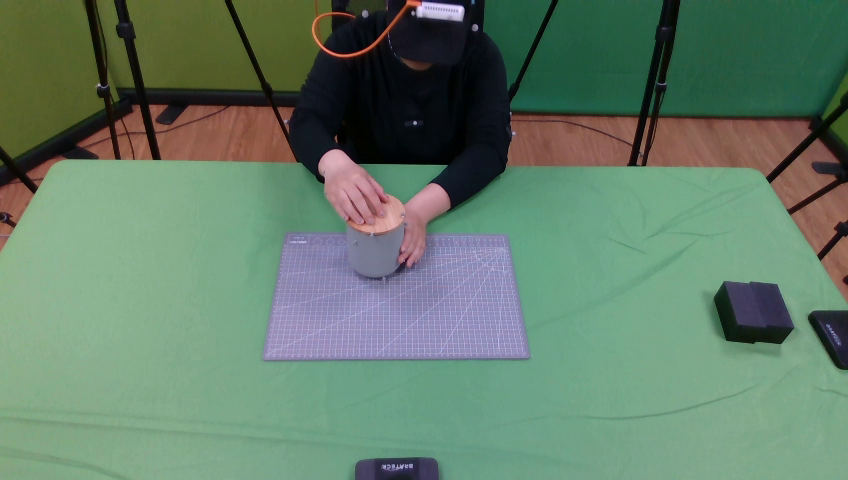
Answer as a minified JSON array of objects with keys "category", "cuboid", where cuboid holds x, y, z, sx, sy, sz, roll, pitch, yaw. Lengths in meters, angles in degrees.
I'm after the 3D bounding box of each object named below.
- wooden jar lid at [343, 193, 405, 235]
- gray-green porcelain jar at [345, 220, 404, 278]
[{"category":"wooden jar lid","cuboid":[-0.088,-0.043,1.073,0.108,0.021,0.107,3,45,-3]},{"category":"gray-green porcelain jar","cuboid":[-0.091,-0.001,1.117,0.106,0.127,0.105,2,46,-2]}]
